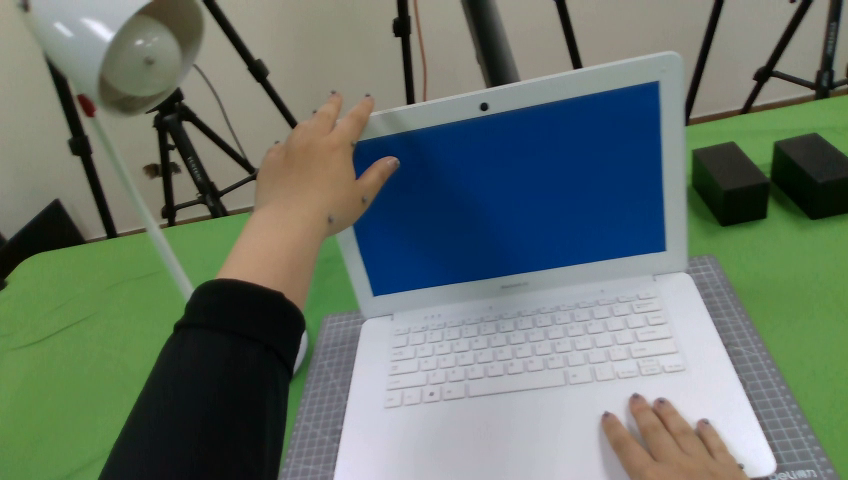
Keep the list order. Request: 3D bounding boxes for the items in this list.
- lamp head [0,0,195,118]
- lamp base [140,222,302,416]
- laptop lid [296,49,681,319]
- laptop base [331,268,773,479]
[{"bbox_3d":[-0.262,-0.170,0.471,0.122,0.113,0.112,31,48,5],"label":"lamp head"},{"bbox_3d":[-0.243,0.070,0.652,0.177,0.182,0.160,16,46,41],"label":"lamp base"},{"bbox_3d":[0.071,-0.038,0.607,0.356,0.243,0.013,-11,28,10],"label":"laptop lid"},{"bbox_3d":[0.094,0.134,0.566,0.354,0.023,0.233,-10,38,9],"label":"laptop base"}]
